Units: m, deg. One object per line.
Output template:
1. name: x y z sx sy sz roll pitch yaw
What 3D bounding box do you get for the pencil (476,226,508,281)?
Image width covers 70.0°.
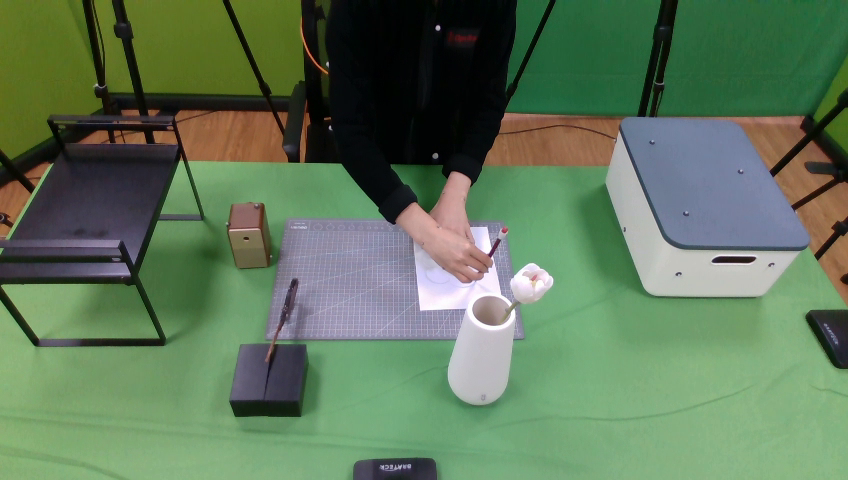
1. pencil: 0.115 0.028 1.057 0.012 0.195 0.012 5 59 -9

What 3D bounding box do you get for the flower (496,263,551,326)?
1. flower: 0.102 0.120 0.853 0.044 0.363 0.038 -2 64 -10

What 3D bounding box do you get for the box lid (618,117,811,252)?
1. box lid: 0.534 -0.117 1.148 0.263 0.015 0.369 0 47 -3

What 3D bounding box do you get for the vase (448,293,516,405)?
1. vase: 0.091 0.169 0.921 0.098 0.201 0.097 3 47 -3

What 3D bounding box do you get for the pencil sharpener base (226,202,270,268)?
1. pencil sharpener base: -0.323 -0.010 1.123 0.061 0.107 0.076 -3 46 -7

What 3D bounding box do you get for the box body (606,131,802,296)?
1. box body: 0.530 -0.067 1.204 0.254 0.161 0.361 0 46 -4

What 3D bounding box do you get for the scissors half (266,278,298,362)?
1. scissors half: -0.234 0.127 0.993 0.013 0.040 0.174 12 46 -4

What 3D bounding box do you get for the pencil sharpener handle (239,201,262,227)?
1. pencil sharpener handle: -0.325 -0.055 1.150 0.036 0.068 0.030 -13 46 4

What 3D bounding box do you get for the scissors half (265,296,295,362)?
1. scissors half: -0.239 0.143 1.005 0.013 0.040 0.174 17 27 -6
